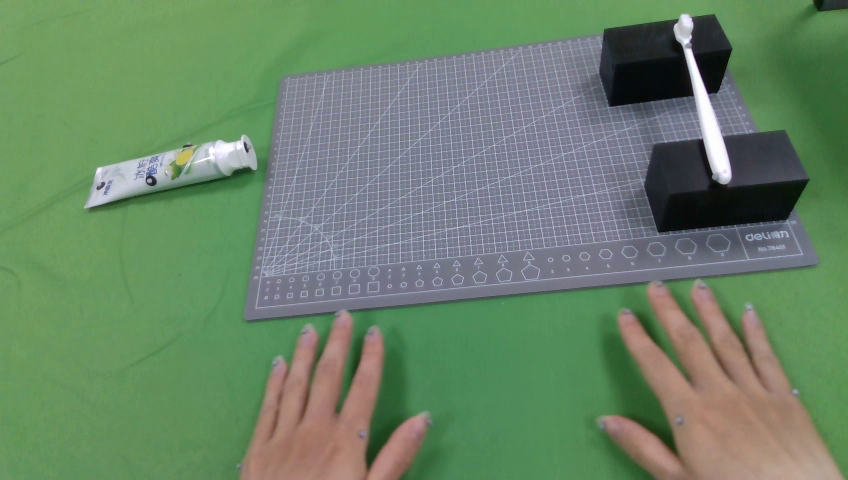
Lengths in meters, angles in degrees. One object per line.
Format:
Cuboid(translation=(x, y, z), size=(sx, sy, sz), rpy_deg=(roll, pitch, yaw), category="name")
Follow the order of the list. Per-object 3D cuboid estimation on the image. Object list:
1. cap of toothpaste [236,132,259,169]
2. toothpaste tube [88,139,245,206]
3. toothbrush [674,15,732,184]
Cuboid(translation=(-0.169, -0.085, 0.579), size=(0.011, 0.038, 0.037), rpy_deg=(-14, 54, 1), category="cap of toothpaste")
Cuboid(translation=(-0.248, -0.071, 0.590), size=(0.165, 0.035, 0.054), rpy_deg=(-11, 49, 6), category="toothpaste tube")
Cuboid(translation=(0.224, -0.119, 0.487), size=(0.014, 0.017, 0.180), rpy_deg=(5, 58, -3), category="toothbrush")
